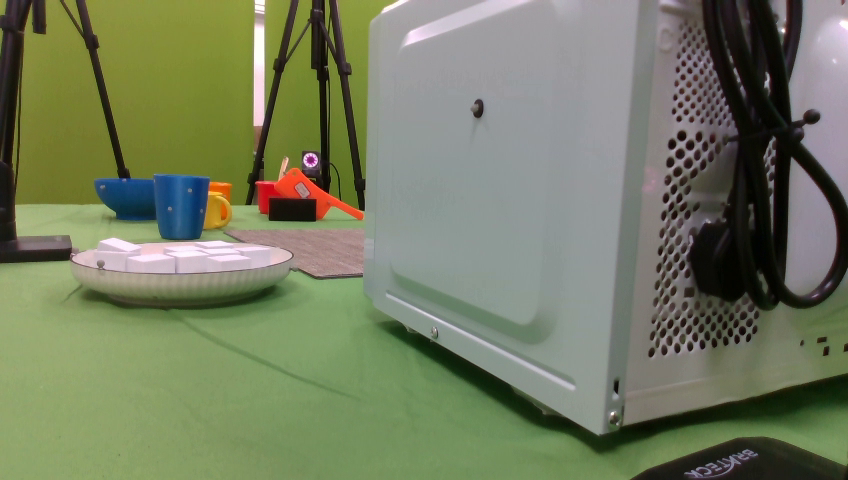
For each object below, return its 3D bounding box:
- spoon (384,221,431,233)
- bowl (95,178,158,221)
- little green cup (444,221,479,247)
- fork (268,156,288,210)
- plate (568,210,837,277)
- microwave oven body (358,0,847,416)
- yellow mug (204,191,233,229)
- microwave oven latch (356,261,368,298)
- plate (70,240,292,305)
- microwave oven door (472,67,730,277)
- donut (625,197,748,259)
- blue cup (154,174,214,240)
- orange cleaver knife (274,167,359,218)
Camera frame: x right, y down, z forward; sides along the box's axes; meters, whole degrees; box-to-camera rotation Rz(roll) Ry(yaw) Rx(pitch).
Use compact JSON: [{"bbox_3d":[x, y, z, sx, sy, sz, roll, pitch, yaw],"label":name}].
[{"bbox_3d":[-0.024,-0.029,1.188,0.041,0.021,0.194,-11,0,23],"label":"spoon"},{"bbox_3d":[-0.576,-0.081,1.217,0.151,0.077,0.151,3,8,0],"label":"bowl"},{"bbox_3d":[0.064,-0.011,1.035,0.061,0.038,0.061,1,10,0],"label":"little green cup"},{"bbox_3d":[-0.360,-0.144,1.508,0.028,0.018,0.207,1,49,0],"label":"fork"},{"bbox_3d":[0.229,0.000,0.519,0.209,0.038,0.209,2,7,0],"label":"plate"},{"bbox_3d":[0.211,-0.047,0.474,0.444,0.260,0.324,-1,7,-28],"label":"microwave oven body"},{"bbox_3d":[-0.415,-0.057,1.132,0.130,0.064,0.100,6,8,16],"label":"yellow mug"},{"bbox_3d":[-0.019,0.033,0.529,0.079,0.029,0.030,0,7,-25],"label":"microwave oven latch"},{"bbox_3d":[-0.242,0.031,0.618,0.208,0.039,0.207,2,8,0],"label":"plate"},{"bbox_3d":[0.213,-0.097,0.820,0.039,0.243,0.354,-6,11,-44],"label":"microwave oven door"},{"bbox_3d":[0.223,-0.009,0.519,0.099,0.048,0.099,9,9,-1],"label":"donut"},{"bbox_3d":[-0.391,-0.053,0.978,0.093,0.100,0.092,3,6,0],"label":"blue cup"},{"bbox_3d":[-0.238,-0.091,1.381,0.212,0.077,0.012,31,0,-19],"label":"orange cleaver knife"}]
